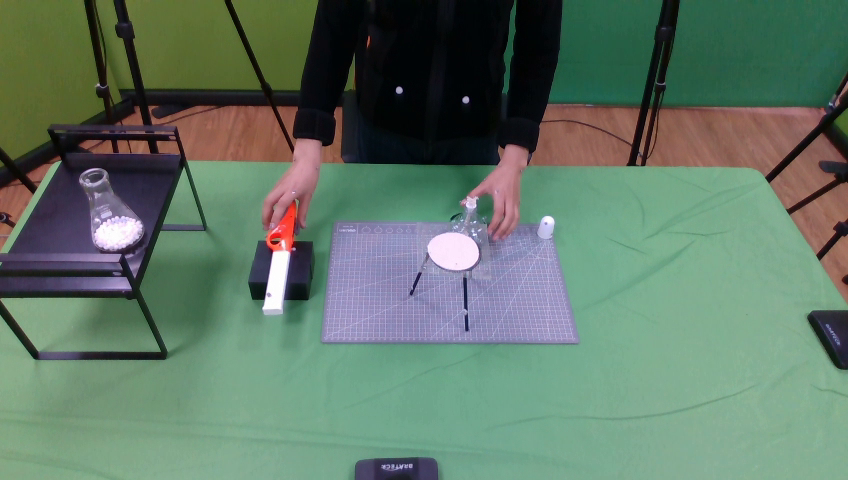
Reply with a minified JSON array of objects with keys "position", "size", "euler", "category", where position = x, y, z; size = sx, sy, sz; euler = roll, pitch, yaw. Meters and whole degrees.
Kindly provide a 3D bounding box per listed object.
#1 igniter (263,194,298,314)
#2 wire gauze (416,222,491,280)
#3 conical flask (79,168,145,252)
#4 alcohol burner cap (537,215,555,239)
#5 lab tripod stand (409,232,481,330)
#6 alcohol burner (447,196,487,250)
[{"position":[-0.259,0.016,1.093],"size":[0.057,0.025,0.274],"euler":[-3,49,-2],"category":"igniter"},{"position":[0.048,0.014,1.013],"size":[0.125,0.011,0.120],"euler":[3,47,-3],"category":"wire gauze"},{"position":[-0.463,-0.048,0.888],"size":[0.075,0.122,0.075],"euler":[2,46,-2],"category":"conical flask"},{"position":[0.249,-0.029,1.228],"size":[0.034,0.048,0.033],"euler":[1,48,-1],"category":"alcohol burner cap"},{"position":[0.051,0.064,1.059],"size":[0.148,0.132,0.147],"euler":[3,47,-3],"category":"lab tripod stand"},{"position":[0.085,-0.039,1.174],"size":[0.078,0.119,0.077],"euler":[2,45,-2],"category":"alcohol burner"}]
